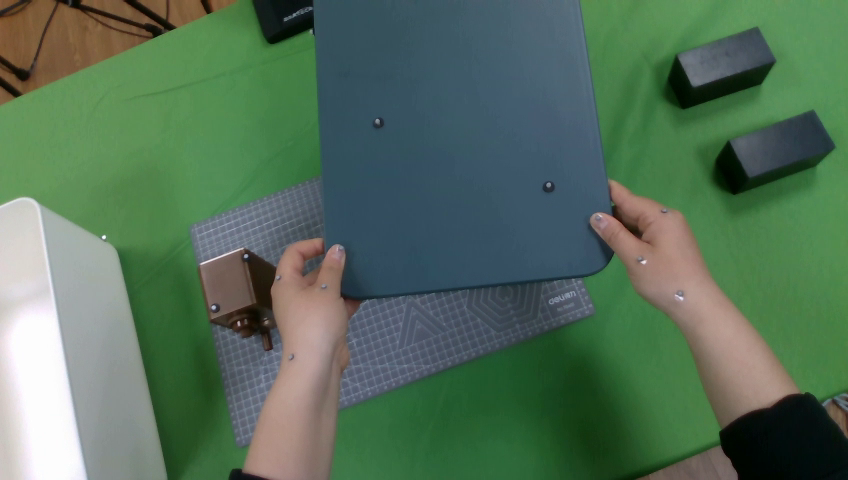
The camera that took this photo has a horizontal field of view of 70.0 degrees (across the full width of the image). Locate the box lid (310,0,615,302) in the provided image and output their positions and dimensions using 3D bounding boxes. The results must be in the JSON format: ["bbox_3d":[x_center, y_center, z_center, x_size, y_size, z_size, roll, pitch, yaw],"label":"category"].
[{"bbox_3d":[0.024,-0.134,0.578,0.263,0.015,0.369,-7,76,6],"label":"box lid"}]

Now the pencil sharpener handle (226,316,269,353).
[{"bbox_3d":[-0.195,0.109,0.685,0.036,0.068,0.030,-21,71,4],"label":"pencil sharpener handle"}]

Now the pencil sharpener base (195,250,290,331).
[{"bbox_3d":[-0.210,0.068,0.713,0.061,0.108,0.076,-21,71,2],"label":"pencil sharpener base"}]

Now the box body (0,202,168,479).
[{"bbox_3d":[-0.477,0.177,0.700,0.254,0.161,0.361,-24,71,2],"label":"box body"}]
